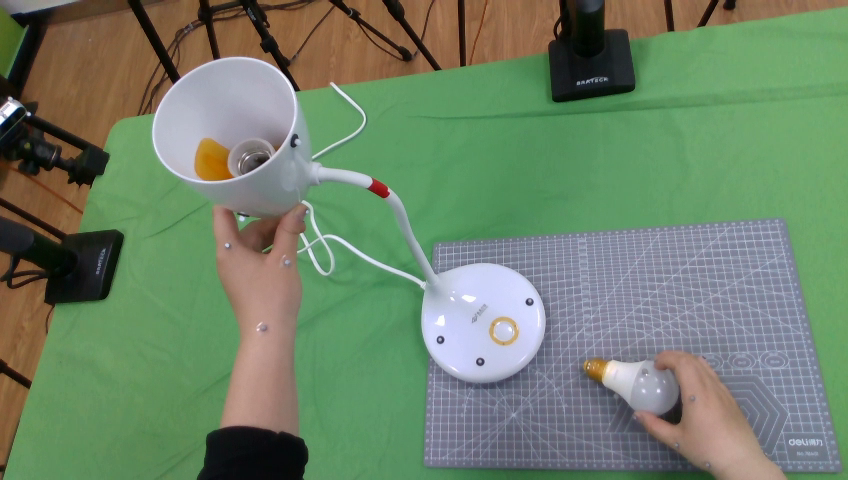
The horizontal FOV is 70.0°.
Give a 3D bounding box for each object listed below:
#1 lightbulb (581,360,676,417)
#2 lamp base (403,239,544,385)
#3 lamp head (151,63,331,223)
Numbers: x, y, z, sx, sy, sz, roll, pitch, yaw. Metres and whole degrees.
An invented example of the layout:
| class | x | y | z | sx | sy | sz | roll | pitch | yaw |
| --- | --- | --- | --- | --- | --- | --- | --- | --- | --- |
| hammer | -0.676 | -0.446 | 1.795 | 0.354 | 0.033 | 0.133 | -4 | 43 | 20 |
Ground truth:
| class | x | y | z | sx | sy | sz | roll | pitch | yaw |
| --- | --- | --- | --- | --- | --- | --- | --- | --- | --- |
| lightbulb | 0.231 | 0.162 | 0.691 | 0.107 | 0.060 | 0.059 | 14 | 68 | 36 |
| lamp base | 0.042 | 0.068 | 0.715 | 0.178 | 0.182 | 0.160 | 21 | 71 | 27 |
| lamp head | -0.139 | -0.066 | 0.501 | 0.112 | 0.124 | 0.111 | -5 | 66 | 11 |
